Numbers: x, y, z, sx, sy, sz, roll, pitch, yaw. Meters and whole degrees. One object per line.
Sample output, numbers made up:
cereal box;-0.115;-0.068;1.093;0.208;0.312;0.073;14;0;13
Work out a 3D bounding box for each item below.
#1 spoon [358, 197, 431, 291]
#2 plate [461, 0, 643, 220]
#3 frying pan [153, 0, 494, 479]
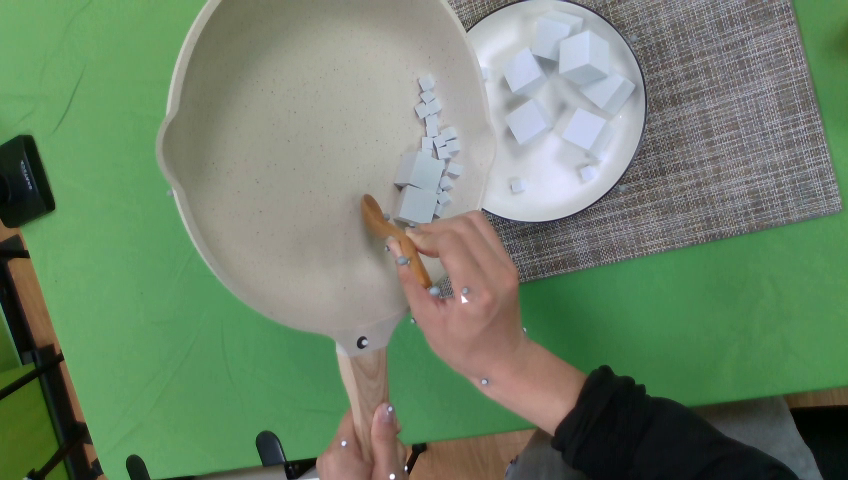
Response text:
spoon;-0.024;-0.001;0.452;0.021;0.192;0.042;-32;111;-8
plate;0.105;-0.124;0.588;0.206;0.039;0.208;4;102;23
frying pan;-0.058;0.031;0.492;0.102;0.308;0.488;0;96;48
